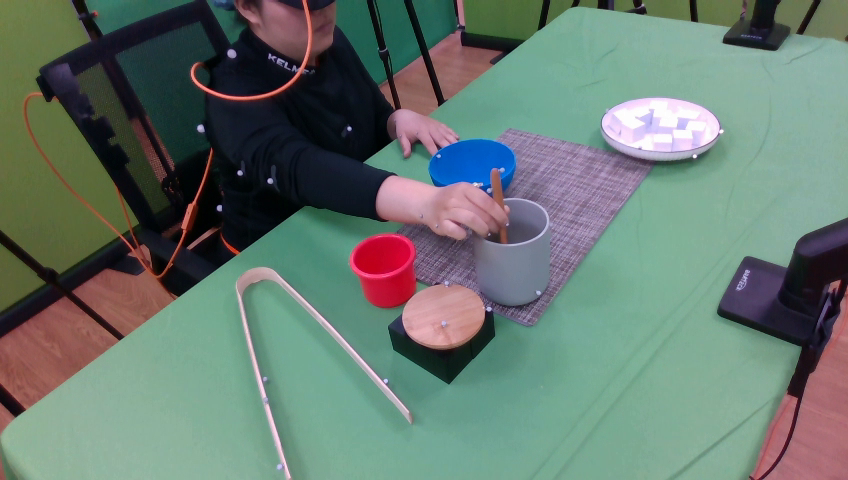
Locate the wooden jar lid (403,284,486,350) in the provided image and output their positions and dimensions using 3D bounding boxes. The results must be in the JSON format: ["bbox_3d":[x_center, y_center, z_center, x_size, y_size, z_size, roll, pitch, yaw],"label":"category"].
[{"bbox_3d":[0.027,0.101,0.786,0.108,0.021,0.108,-5,39,5],"label":"wooden jar lid"}]

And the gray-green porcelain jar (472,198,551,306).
[{"bbox_3d":[0.125,0.021,0.850,0.106,0.127,0.105,-6,40,5],"label":"gray-green porcelain jar"}]

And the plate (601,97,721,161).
[{"bbox_3d":[0.437,-0.202,1.126,0.209,0.038,0.208,-5,39,5],"label":"plate"}]

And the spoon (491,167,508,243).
[{"bbox_3d":[0.103,-0.010,0.797,0.041,0.194,0.021,5,34,26],"label":"spoon"}]

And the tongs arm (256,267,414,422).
[{"bbox_3d":[-0.136,0.132,0.853,0.028,0.028,0.384,-34,45,-23],"label":"tongs arm"}]

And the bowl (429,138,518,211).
[{"bbox_3d":[0.087,-0.104,1.043,0.151,0.077,0.150,-5,40,5],"label":"bowl"}]

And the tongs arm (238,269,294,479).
[{"bbox_3d":[-0.208,0.163,0.824,0.051,0.026,0.381,-22,40,-15],"label":"tongs arm"}]
